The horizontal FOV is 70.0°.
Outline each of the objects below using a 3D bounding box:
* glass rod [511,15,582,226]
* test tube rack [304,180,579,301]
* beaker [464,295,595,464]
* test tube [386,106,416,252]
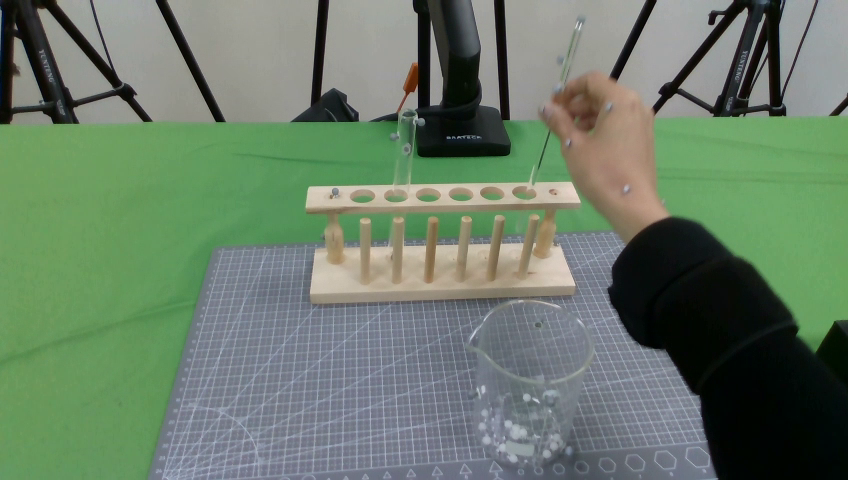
[{"bbox_3d":[0.096,-0.086,0.497,0.008,0.201,0.008,6,43,-5],"label":"glass rod"},{"bbox_3d":[0.016,0.000,0.554,0.243,0.086,0.066,-1,39,-4],"label":"test tube rack"},{"bbox_3d":[0.068,0.099,0.418,0.084,0.101,0.073,-1,38,-1],"label":"beaker"},{"bbox_3d":[-0.021,-0.048,0.531,0.017,0.151,0.017,5,40,-4],"label":"test tube"}]
